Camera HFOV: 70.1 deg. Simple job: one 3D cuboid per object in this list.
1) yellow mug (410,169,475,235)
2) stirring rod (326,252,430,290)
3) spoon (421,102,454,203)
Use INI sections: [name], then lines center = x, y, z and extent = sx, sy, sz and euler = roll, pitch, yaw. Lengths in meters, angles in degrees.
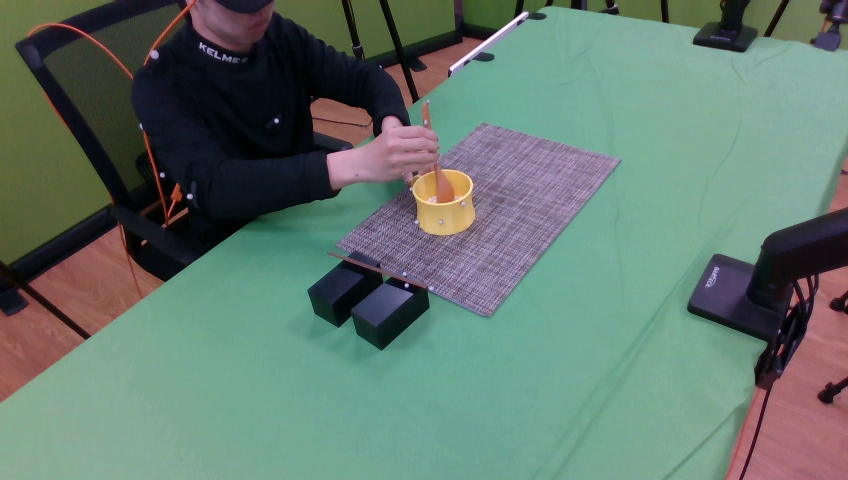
[yellow mug]
center = 0.022, -0.070, 1.007
extent = 0.129, 0.064, 0.100
euler = 29, 52, 36
[stirring rod]
center = -0.068, 0.043, 0.859
extent = 0.175, 0.006, 0.014
euler = 17, 11, 26
[spoon]
center = 0.017, -0.130, 0.969
extent = 0.042, 0.194, 0.021
euler = -32, 34, -25
